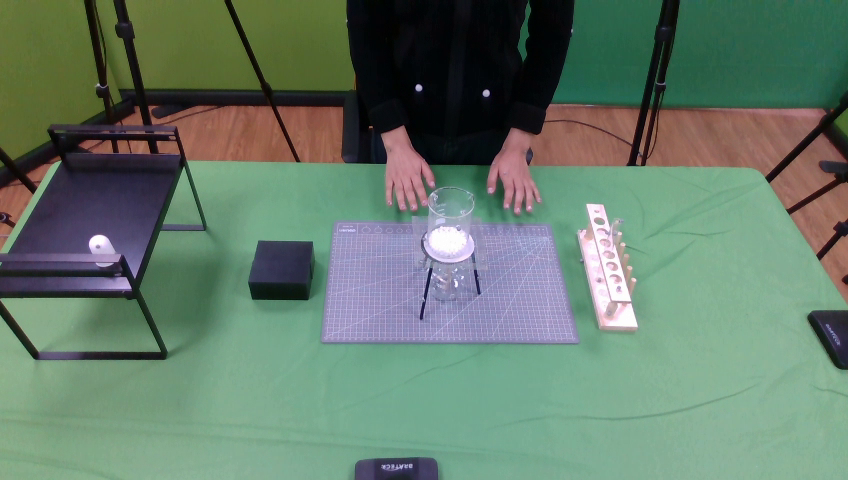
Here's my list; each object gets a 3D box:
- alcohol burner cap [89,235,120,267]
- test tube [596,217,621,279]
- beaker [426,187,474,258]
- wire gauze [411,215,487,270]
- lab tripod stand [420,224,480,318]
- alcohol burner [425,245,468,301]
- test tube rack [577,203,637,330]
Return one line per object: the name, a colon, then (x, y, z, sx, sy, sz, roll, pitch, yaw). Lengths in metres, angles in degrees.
alcohol burner cap: (-0.469, 0.013, 0.885, 0.034, 0.048, 0.033, 1, 47, -1)
test tube: (0.331, 0.018, 1.094, 0.017, 0.151, 0.017, 0, 45, 0)
beaker: (0.043, -0.027, 0.989, 0.084, 0.101, 0.073, -27, 53, -26)
wire gauze: (0.041, 0.003, 1.026, 0.125, 0.011, 0.120, 0, 46, -1)
lab tripod stand: (0.034, 0.052, 1.071, 0.148, 0.132, 0.147, 3, 48, -3)
alcohol burner: (0.040, 0.053, 1.083, 0.078, 0.120, 0.077, 1, 47, -1)
test tube rack: (0.348, 0.045, 1.139, 0.067, 0.085, 0.241, 2, 46, -2)
